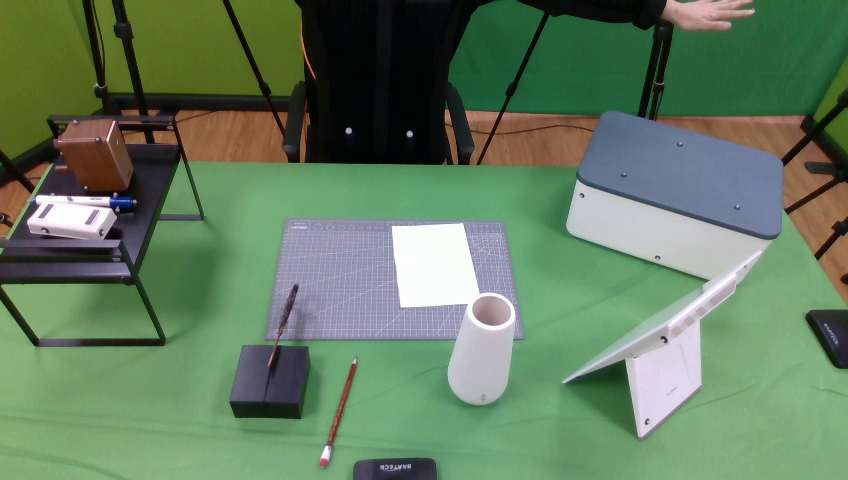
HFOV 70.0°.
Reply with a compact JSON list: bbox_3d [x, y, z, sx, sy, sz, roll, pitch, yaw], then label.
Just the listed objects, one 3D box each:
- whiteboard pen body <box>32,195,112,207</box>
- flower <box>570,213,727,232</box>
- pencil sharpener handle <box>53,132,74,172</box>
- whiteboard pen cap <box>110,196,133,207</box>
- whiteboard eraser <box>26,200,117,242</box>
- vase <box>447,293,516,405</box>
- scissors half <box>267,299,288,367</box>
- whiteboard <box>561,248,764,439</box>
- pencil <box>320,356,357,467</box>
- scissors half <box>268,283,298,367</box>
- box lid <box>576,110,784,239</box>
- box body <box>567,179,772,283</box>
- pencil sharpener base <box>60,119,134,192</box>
[{"bbox_3d":[-0.543,-0.061,0.961,0.141,0.017,0.017,1,46,-10],"label":"whiteboard pen body"},{"bbox_3d":[0.479,-0.039,1.270,0.362,0.038,0.044,-1,15,-13],"label":"flower"},{"bbox_3d":[-0.578,-0.138,0.961,0.031,0.068,0.036,-4,34,-7],"label":"pencil sharpener handle"},{"bbox_3d":[-0.486,-0.061,0.972,0.033,0.018,0.018,0,46,-9],"label":"whiteboard pen cap"},{"bbox_3d":[-0.532,-0.026,0.919,0.113,0.042,0.055,7,45,3],"label":"whiteboard eraser"},{"bbox_3d":[0.091,0.169,0.921,0.098,0.201,0.097,3,47,-3],"label":"vase"},{"bbox_3d":[-0.239,0.150,0.997,0.013,0.040,0.174,24,24,-13],"label":"scissors half"},{"bbox_3d":[0.386,0.176,0.905,0.217,0.306,0.143,-26,72,-27],"label":"whiteboard"},{"bbox_3d":[-0.130,0.261,0.946,0.012,0.012,0.193,10,45,5],"label":"pencil"},{"bbox_3d":[-0.230,0.135,0.986,0.013,0.040,0.174,19,43,-11],"label":"scissors half"},{"bbox_3d":[0.498,-0.137,1.167,0.371,0.015,0.262,19,48,14],"label":"box lid"},{"bbox_3d":[0.493,-0.086,1.220,0.363,0.161,0.253,19,48,14],"label":"box body"},{"bbox_3d":[-0.528,-0.135,0.979,0.077,0.107,0.061,-4,47,-7],"label":"pencil sharpener base"}]
